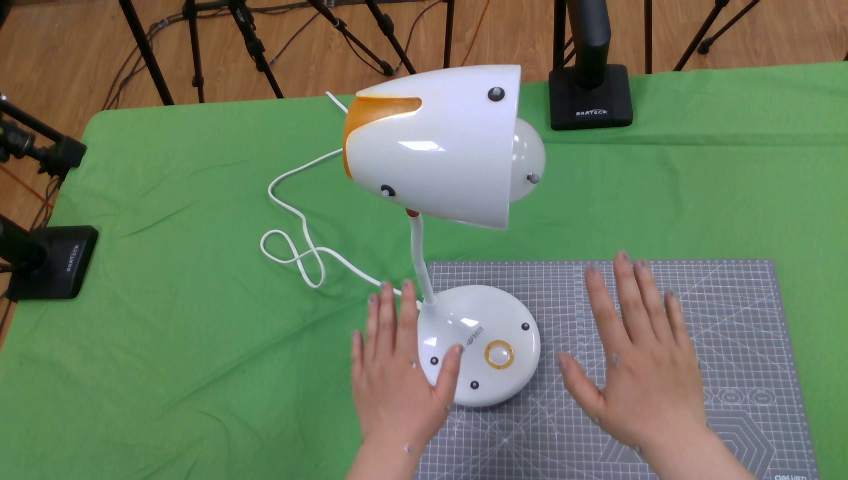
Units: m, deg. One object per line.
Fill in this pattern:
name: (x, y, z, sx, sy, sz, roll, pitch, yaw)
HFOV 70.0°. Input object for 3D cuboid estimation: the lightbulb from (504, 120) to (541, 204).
lightbulb: (0.025, -0.054, 0.416, 0.107, 0.060, 0.059, 1, 62, 11)

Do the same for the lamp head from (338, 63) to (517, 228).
lamp head: (0.004, -0.066, 0.423, 0.122, 0.113, 0.111, 3, 63, 12)

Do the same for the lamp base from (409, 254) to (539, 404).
lamp base: (0.042, 0.088, 0.708, 0.178, 0.182, 0.160, 23, 68, 23)
